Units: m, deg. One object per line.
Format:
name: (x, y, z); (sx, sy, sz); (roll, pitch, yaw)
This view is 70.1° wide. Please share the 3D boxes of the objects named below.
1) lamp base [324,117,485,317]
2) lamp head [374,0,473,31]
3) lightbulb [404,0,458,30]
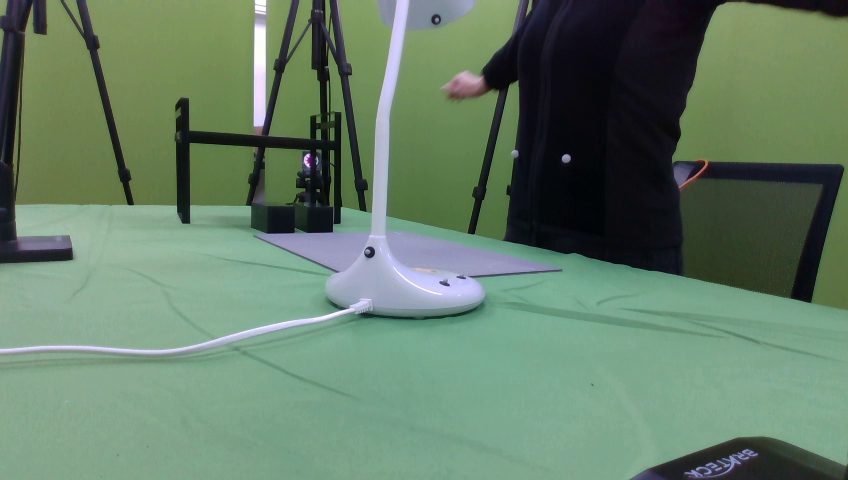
lamp base: (-0.020, -0.025, 0.583); (0.160, 0.180, 0.179); (4, 10, 17)
lamp head: (-0.009, -0.298, 0.640); (0.112, 0.123, 0.112); (-7, 49, 8)
lightbulb: (0.001, -0.283, 0.659); (0.059, 0.108, 0.059); (-13, 40, 11)
